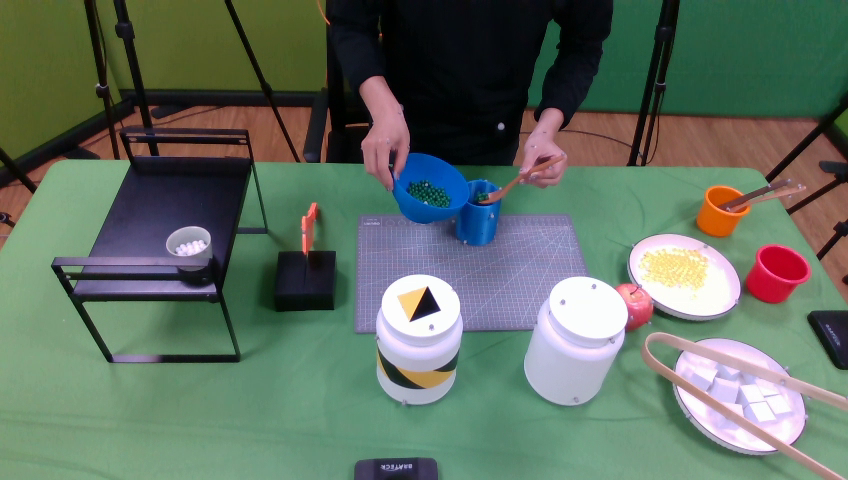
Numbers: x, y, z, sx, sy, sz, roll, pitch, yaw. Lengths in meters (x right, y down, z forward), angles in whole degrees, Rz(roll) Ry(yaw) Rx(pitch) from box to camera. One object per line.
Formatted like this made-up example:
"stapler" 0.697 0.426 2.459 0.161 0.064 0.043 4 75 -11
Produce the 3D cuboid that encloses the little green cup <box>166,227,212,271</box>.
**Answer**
"little green cup" -0.344 0.014 0.895 0.061 0.039 0.061 3 46 -3

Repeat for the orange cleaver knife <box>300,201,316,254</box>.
"orange cleaver knife" -0.221 -0.027 1.161 0.012 0.077 0.210 -2 15 -4

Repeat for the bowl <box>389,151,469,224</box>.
"bowl" -0.002 -0.084 1.106 0.152 0.077 0.150 16 42 -15

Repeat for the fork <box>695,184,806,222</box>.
"fork" 0.658 -0.074 1.230 0.207 0.019 0.028 -24 34 36

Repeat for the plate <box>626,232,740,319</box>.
"plate" 0.488 0.070 1.157 0.209 0.038 0.208 3 46 -3

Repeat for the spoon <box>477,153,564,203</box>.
"spoon" 0.173 -0.113 1.107 0.022 0.194 0.041 50 40 -9

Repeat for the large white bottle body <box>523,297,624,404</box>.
"large white bottle body" 0.235 0.159 0.952 0.131 0.185 0.130 2 47 -2

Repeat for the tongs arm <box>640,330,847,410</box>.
"tongs arm" 0.543 0.225 0.969 0.384 0.026 0.050 22 52 13

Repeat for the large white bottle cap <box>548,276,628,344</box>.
"large white bottle cap" 0.240 0.100 0.890 0.115 0.018 0.114 3 47 -3

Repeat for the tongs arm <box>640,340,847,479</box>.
"tongs arm" 0.500 0.277 0.919 0.386 0.028 0.028 34 59 22

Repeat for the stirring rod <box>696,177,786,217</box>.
"stirring rod" 0.648 -0.087 1.244 0.176 0.006 0.014 -25 50 29

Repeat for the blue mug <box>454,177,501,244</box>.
"blue mug" 0.106 -0.067 1.208 0.082 0.106 0.116 6 46 1

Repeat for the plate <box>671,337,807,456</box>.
"plate" 0.503 0.254 0.984 0.208 0.039 0.206 2 46 -2

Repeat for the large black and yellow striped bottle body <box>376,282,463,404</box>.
"large black and yellow striped bottle body" -0.010 0.155 0.937 0.131 0.185 0.130 2 47 -2

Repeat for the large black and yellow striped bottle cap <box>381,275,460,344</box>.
"large black and yellow striped bottle cap" -0.005 0.098 0.875 0.115 0.019 0.114 2 45 -2

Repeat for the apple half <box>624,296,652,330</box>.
"apple half" 0.368 0.135 1.060 0.081 0.081 0.032 -11 43 -15

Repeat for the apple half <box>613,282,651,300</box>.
"apple half" 0.356 0.109 1.086 0.081 0.075 0.053 -14 44 -12
